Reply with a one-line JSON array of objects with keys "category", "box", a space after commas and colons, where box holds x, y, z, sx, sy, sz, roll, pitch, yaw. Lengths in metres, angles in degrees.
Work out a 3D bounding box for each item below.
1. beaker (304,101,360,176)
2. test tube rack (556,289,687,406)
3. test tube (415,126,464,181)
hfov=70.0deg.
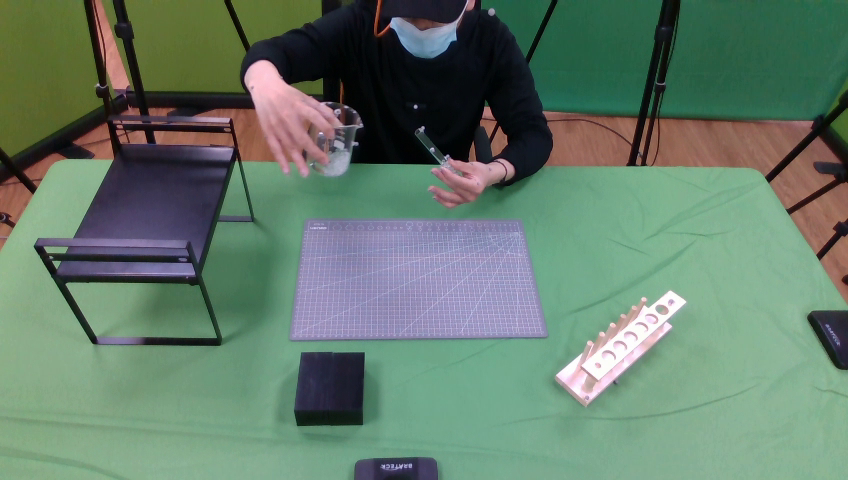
[{"category": "beaker", "box": [-0.149, -0.159, 0.970, 0.084, 0.100, 0.073, 17, 39, 0]}, {"category": "test tube rack", "box": [0.332, 0.166, 1.014, 0.242, 0.085, 0.066, -30, 55, -28]}, {"category": "test tube", "box": [0.031, -0.157, 1.120, 0.017, 0.151, 0.017, -24, 44, 26]}]
